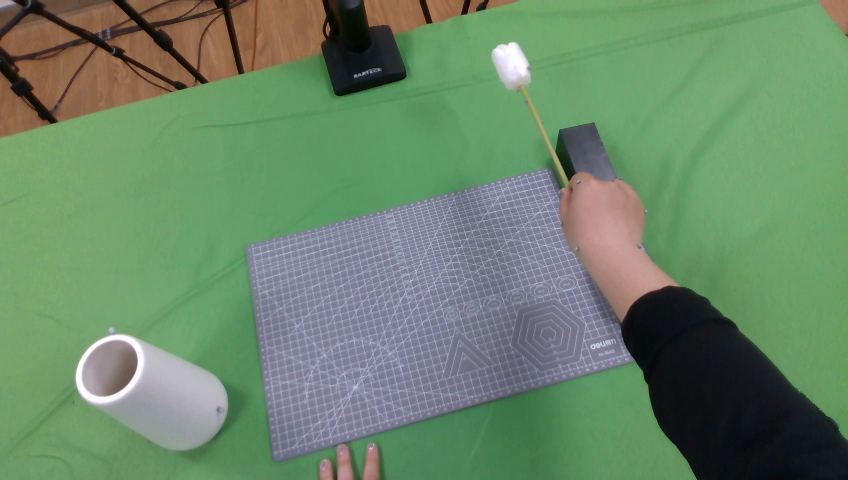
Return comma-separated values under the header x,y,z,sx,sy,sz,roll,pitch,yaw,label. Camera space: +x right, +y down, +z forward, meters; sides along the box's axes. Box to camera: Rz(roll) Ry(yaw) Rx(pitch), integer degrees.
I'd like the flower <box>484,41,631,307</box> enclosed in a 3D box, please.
x,y,z,sx,sy,sz,roll,pitch,yaw,label
0.147,-0.086,0.679,0.044,0.038,0.358,5,55,-43,flower

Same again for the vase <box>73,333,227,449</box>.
x,y,z,sx,sy,sz,roll,pitch,yaw,label
-0.291,0.165,0.661,0.098,0.201,0.097,-1,62,3,vase
